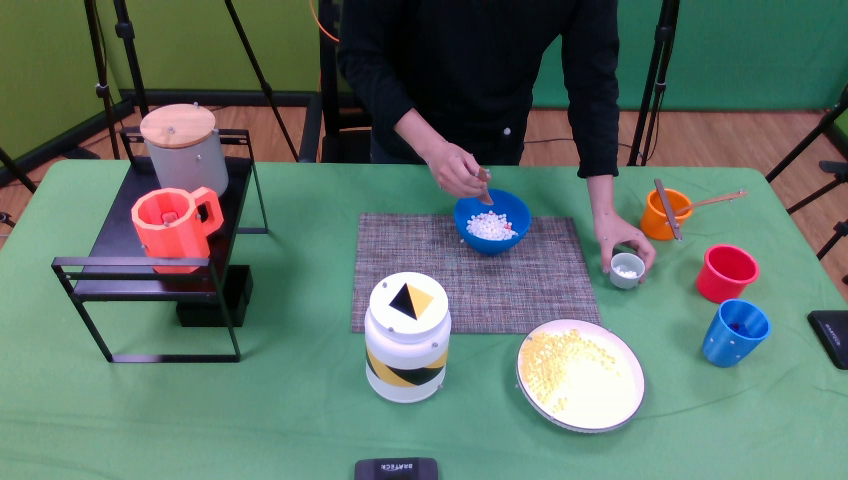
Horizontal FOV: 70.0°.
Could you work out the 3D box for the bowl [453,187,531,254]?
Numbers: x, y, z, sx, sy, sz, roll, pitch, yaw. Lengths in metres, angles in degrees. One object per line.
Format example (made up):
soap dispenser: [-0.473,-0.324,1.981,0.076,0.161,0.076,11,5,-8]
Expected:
bowl: [0.128,-0.025,1.187,0.151,0.077,0.150,2,46,-2]

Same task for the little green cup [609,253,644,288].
little green cup: [0.377,0.059,1.134,0.061,0.039,0.061,0,49,0]

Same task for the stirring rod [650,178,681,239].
stirring rod: [0.479,-0.065,1.204,0.014,0.006,0.175,3,46,-4]

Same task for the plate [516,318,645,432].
plate: [0.253,0.221,0.993,0.209,0.038,0.208,2,46,-2]

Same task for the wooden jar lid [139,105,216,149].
wooden jar lid: [-0.372,-0.169,0.920,0.108,0.021,0.107,4,44,-4]

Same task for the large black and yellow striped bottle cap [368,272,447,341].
large black and yellow striped bottle cap: [-0.023,0.093,0.875,0.115,0.019,0.114,3,46,-3]

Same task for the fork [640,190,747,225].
fork: [0.533,-0.065,1.211,0.207,0.019,0.028,-22,28,39]

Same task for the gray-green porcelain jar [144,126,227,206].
gray-green porcelain jar: [-0.375,-0.126,0.967,0.106,0.127,0.105,2,46,-2]

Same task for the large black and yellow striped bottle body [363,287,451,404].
large black and yellow striped bottle body: [-0.027,0.153,0.935,0.131,0.185,0.130,2,46,-2]

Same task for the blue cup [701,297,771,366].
blue cup: [0.519,0.162,1.025,0.093,0.101,0.092,3,45,-3]

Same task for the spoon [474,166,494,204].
spoon: [0.105,-0.098,1.073,0.041,0.194,0.021,31,80,13]

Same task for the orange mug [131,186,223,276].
orange mug: [-0.354,-0.022,0.888,0.083,0.101,0.126,31,55,24]
